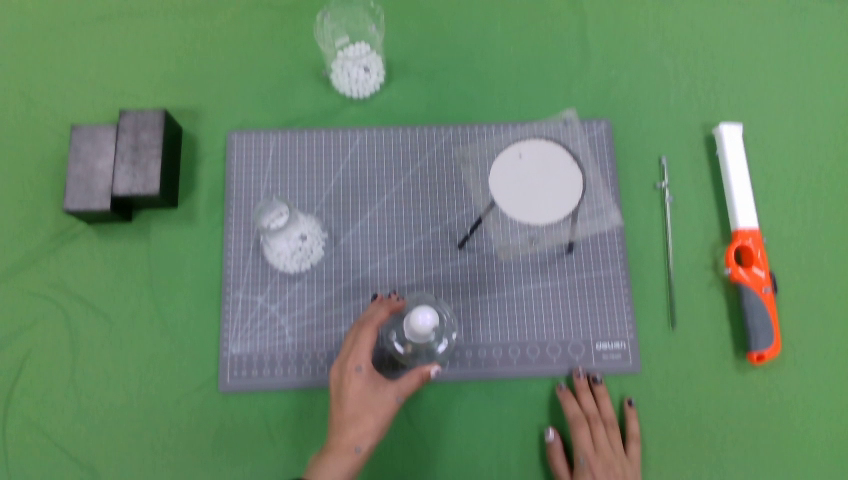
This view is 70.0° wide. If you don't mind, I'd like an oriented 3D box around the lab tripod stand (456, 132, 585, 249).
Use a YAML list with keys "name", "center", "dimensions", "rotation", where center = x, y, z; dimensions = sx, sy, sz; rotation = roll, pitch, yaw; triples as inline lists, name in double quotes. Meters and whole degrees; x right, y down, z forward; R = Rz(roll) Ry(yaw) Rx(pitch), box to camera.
- name: "lab tripod stand"
  center: [0.102, -0.041, 0.625]
  dimensions: [0.148, 0.132, 0.147]
  rotation: [0, 79, -1]

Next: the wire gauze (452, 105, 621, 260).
- name: "wire gauze"
  center: [0.103, -0.054, 0.559]
  dimensions: [0.125, 0.011, 0.121]
  rotation: [-18, 78, -5]

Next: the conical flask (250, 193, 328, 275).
- name: "conical flask"
  center: [-0.143, -0.011, 0.618]
  dimensions: [0.075, 0.122, 0.075]
  rotation: [0, 76, -1]

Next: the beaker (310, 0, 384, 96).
- name: "beaker"
  center: [-0.081, -0.215, 0.682]
  dimensions: [0.084, 0.100, 0.074]
  rotation: [-43, 81, -10]

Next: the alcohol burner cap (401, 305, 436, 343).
- name: "alcohol burner cap"
  center: [-0.003, 0.076, 0.569]
  dimensions: [0.034, 0.048, 0.033]
  rotation: [3, 72, -9]

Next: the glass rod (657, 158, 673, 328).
- name: "glass rod"
  center: [0.272, 0.000, 0.687]
  dimensions: [0.008, 0.008, 0.198]
  rotation: [2, 76, -1]

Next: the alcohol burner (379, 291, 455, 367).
- name: "alcohol burner"
  center: [-0.006, 0.086, 0.603]
  dimensions: [0.078, 0.119, 0.077]
  rotation: [1, 76, -3]

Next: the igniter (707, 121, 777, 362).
- name: "igniter"
  center: [0.356, -0.003, 0.680]
  dimensions: [0.057, 0.025, 0.275]
  rotation: [0, 77, -12]
